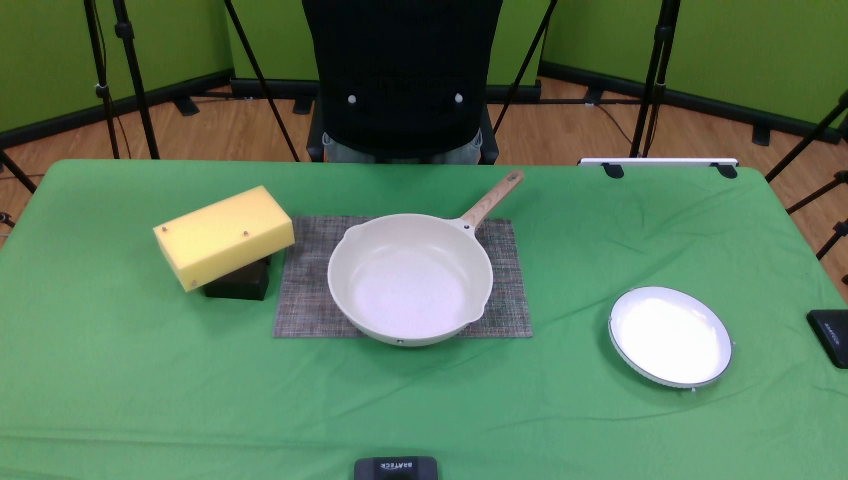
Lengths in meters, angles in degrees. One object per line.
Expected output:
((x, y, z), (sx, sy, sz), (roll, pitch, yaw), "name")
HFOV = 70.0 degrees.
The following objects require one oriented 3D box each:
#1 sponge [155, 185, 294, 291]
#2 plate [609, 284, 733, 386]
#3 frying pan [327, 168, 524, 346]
((-0.353, -0.008, 1.085), (0.207, 0.061, 0.117), (-28, 54, -26), "sponge")
((0.425, 0.167, 1.059), (0.208, 0.039, 0.206), (2, 46, -2), "plate")
((0.042, 0.009, 1.131), (0.305, 0.103, 0.487), (34, 61, 24), "frying pan")
